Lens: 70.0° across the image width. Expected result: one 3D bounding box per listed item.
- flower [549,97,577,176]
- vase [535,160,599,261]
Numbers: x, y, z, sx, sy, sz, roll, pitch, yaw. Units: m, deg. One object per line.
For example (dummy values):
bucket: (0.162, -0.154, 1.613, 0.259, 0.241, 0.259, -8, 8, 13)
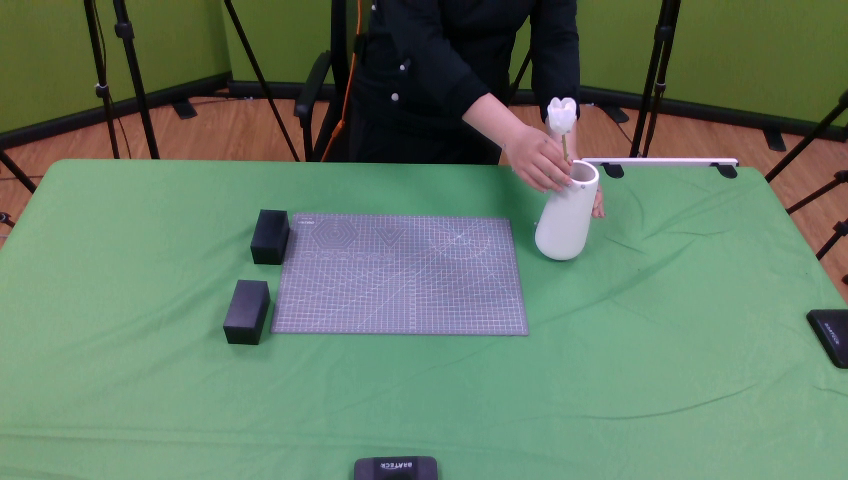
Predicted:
flower: (0.258, -0.106, 1.081, 0.044, 0.364, 0.038, -25, 48, -3)
vase: (0.271, -0.052, 1.145, 0.098, 0.201, 0.097, 1, 46, -1)
